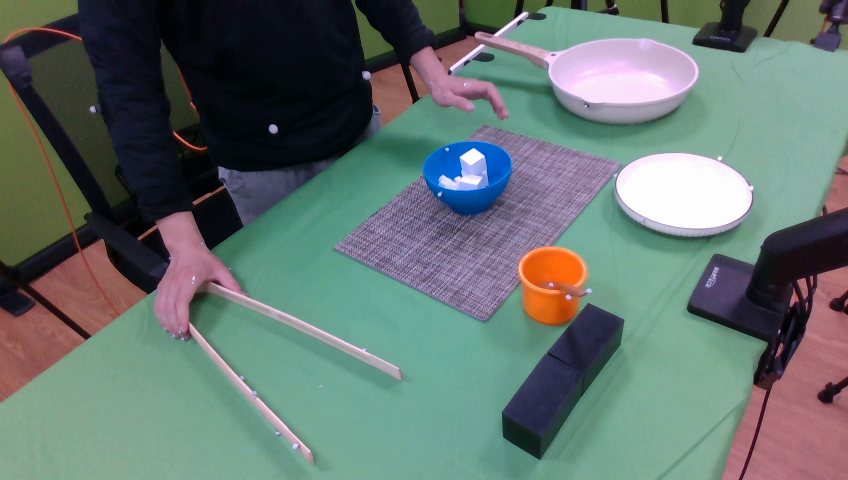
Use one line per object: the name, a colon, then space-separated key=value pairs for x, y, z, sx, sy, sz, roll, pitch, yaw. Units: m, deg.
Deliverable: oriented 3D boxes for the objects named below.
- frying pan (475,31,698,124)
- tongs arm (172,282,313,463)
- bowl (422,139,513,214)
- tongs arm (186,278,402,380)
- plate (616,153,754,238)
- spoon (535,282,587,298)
frying pan: x=0.320 y=-0.371 z=1.290 sx=0.485 sy=0.103 sz=0.307 roll=28 pitch=50 yaw=23
tongs arm: x=-0.246 y=0.160 z=0.806 sx=0.381 sy=0.026 sz=0.051 roll=29 pitch=52 yaw=36
bowl: x=0.075 y=-0.097 z=1.021 sx=0.151 sy=0.077 sz=0.150 roll=-4 pitch=41 yaw=4
tongs arm: x=-0.194 y=0.119 z=0.852 sx=0.385 sy=0.028 sz=0.028 roll=18 pitch=49 yaw=27
plate: x=0.416 y=-0.069 z=0.977 sx=0.207 sy=0.039 sz=0.206 roll=-4 pitch=40 yaw=4
spoon: x=0.176 y=0.063 z=0.774 sx=0.041 sy=0.194 sz=0.021 roll=-3 pitch=85 yaw=0
